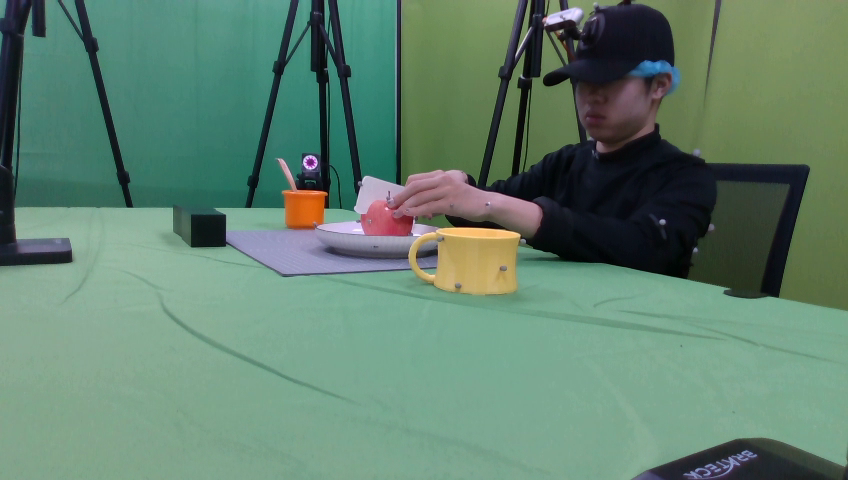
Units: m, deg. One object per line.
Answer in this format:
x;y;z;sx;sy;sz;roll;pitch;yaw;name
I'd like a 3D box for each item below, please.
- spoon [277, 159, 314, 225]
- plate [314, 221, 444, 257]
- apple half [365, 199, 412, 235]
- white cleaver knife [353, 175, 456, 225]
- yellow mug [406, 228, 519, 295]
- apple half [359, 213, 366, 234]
-0.272;-0.103;1.260;0.042;0.193;0.021;-5;-34;-33;spoon
-0.066;-0.002;0.948;0.209;0.038;0.209;3;7;0;plate
-0.048;-0.025;0.929;0.053;0.074;0.081;12;7;30;apple half
-0.027;-0.059;1.002;0.021;0.066;0.288;16;5;33;white cleaver knife
0.044;0.022;0.707;0.131;0.064;0.100;2;7;5;yellow mug
-0.082;-0.029;0.948;0.032;0.081;0.081;10;10;30;apple half
